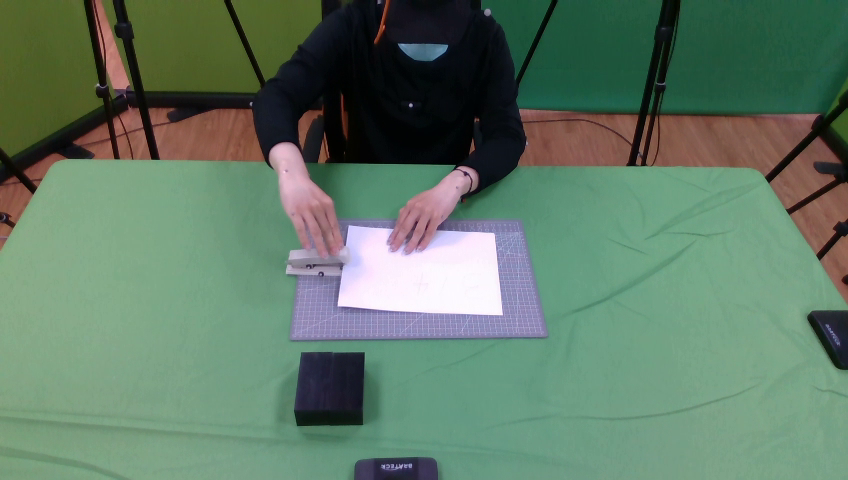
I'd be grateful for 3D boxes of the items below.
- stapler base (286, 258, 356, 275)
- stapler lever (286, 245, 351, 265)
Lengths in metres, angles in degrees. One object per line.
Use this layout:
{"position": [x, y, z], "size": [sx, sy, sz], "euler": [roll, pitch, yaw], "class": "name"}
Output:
{"position": [-0.193, 0.043, 1.134], "size": [0.130, 0.024, 0.041], "euler": [0, 45, -1], "class": "stapler base"}
{"position": [-0.194, 0.027, 1.117], "size": [0.118, 0.040, 0.026], "euler": [2, 45, -2], "class": "stapler lever"}
